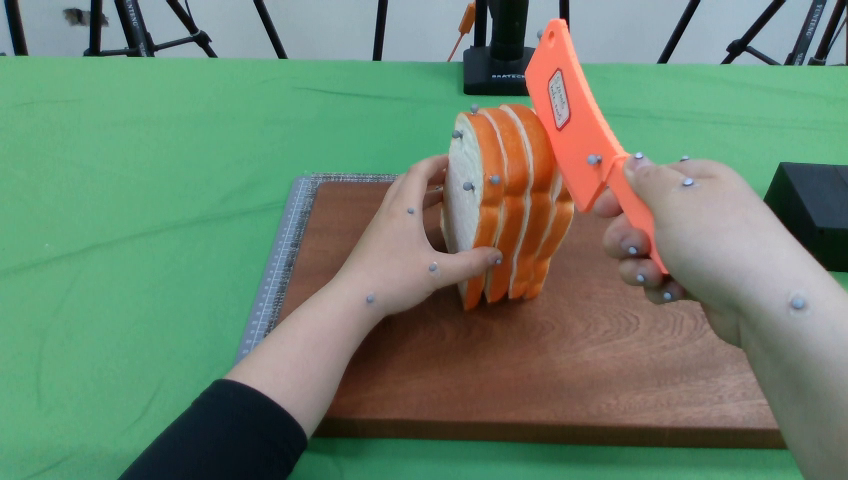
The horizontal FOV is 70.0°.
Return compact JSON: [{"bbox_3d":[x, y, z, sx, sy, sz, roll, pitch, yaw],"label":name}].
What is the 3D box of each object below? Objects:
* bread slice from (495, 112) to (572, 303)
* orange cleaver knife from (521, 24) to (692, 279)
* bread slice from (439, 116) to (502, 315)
[{"bbox_3d":[0.085,-0.031,0.478,0.019,0.132,0.103,0,43,-16],"label":"bread slice"},{"bbox_3d":[0.100,-0.052,0.375,0.012,0.078,0.209,-6,53,-14],"label":"orange cleaver knife"},{"bbox_3d":[0.035,-0.027,0.473,0.018,0.135,0.106,-4,38,-11],"label":"bread slice"}]
